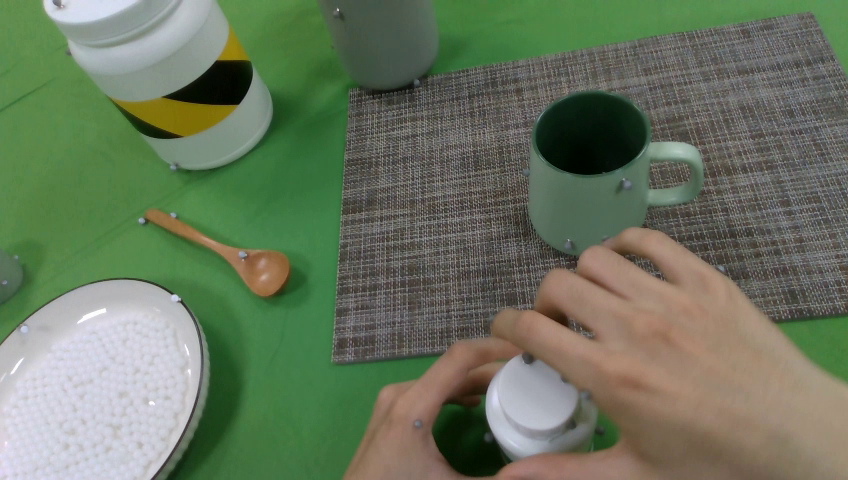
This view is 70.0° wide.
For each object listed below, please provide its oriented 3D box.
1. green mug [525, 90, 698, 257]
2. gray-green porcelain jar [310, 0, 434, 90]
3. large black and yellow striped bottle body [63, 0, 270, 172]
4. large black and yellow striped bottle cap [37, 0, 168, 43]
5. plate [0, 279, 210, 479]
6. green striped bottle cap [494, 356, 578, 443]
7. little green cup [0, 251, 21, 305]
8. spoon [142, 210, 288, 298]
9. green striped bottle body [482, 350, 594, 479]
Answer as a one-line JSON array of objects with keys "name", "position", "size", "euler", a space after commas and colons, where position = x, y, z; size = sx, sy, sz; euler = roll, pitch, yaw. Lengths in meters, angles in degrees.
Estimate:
[{"name": "green mug", "position": [0.137, -0.047, 0.452], "size": [0.125, 0.106, 0.092], "euler": [1, 59, 13]}, {"name": "gray-green porcelain jar", "position": [-0.049, -0.219, 0.586], "size": [0.106, 0.128, 0.105], "euler": [-6, 55, 9]}, {"name": "large black and yellow striped bottle body", "position": [-0.240, -0.166, 0.565], "size": [0.130, 0.186, 0.129], "euler": [-6, 59, 10]}, {"name": "large black and yellow striped bottle cap", "position": [-0.258, -0.207, 0.495], "size": [0.115, 0.019, 0.114], "euler": [-5, 58, 9]}, {"name": "plate", "position": [-0.264, 0.131, 0.481], "size": [0.209, 0.038, 0.207], "euler": [-5, 59, 9]}, {"name": "green striped bottle cap", "position": [0.059, 0.083, 0.319], "size": [0.044, 0.020, 0.044], "euler": [-3, 41, 3]}, {"name": "little green cup", "position": [-0.419, 0.036, 0.573], "size": [0.061, 0.039, 0.061], "euler": [-5, 59, 9]}, {"name": "spoon", "position": [-0.195, 0.004, 0.550], "size": [0.192, 0.022, 0.041], "euler": [23, 87, 23]}, {"name": "green striped bottle body", "position": [0.071, 0.109, 0.370], "size": [0.063, 0.120, 0.062], "euler": [-6, 60, 11]}]
